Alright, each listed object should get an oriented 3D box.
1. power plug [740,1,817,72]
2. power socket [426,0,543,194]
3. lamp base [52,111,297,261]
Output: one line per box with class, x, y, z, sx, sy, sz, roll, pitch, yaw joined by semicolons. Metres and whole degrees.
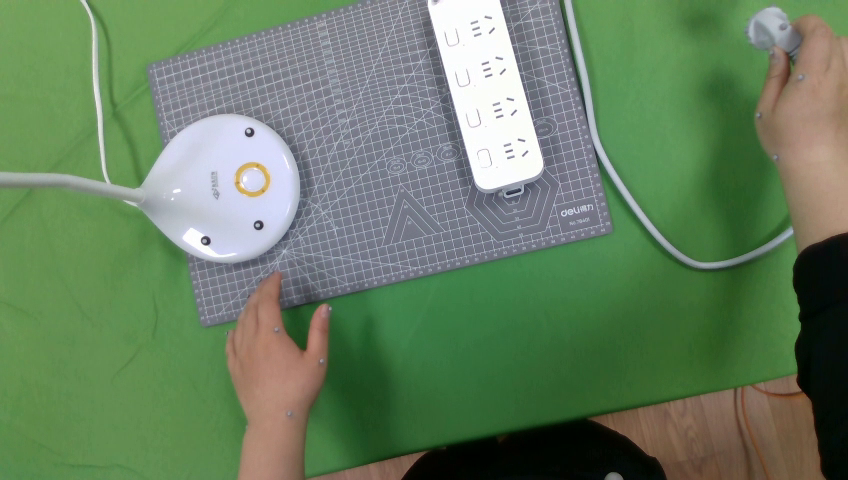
power plug;0.305;-0.174;0.533;0.035;0.052;0.073;-30;108;12
power socket;0.060;-0.158;0.609;0.072;0.032;0.226;-15;87;6
lamp base;-0.235;-0.055;0.574;0.179;0.180;0.160;-19;86;10
